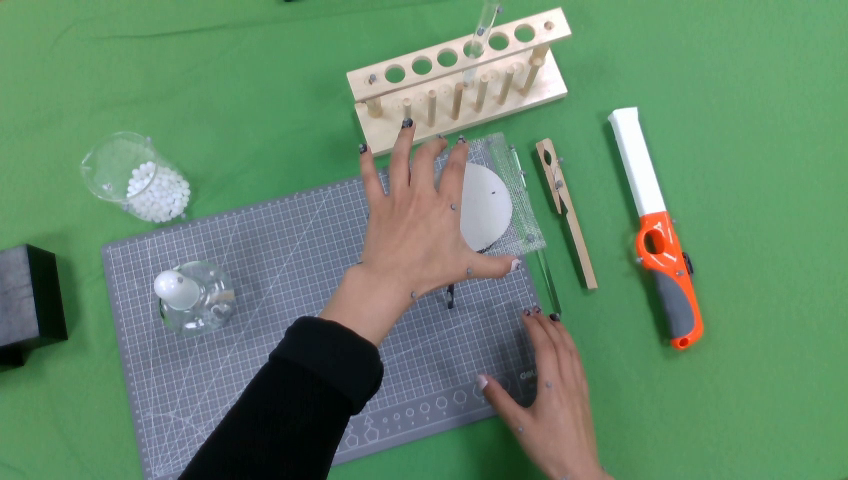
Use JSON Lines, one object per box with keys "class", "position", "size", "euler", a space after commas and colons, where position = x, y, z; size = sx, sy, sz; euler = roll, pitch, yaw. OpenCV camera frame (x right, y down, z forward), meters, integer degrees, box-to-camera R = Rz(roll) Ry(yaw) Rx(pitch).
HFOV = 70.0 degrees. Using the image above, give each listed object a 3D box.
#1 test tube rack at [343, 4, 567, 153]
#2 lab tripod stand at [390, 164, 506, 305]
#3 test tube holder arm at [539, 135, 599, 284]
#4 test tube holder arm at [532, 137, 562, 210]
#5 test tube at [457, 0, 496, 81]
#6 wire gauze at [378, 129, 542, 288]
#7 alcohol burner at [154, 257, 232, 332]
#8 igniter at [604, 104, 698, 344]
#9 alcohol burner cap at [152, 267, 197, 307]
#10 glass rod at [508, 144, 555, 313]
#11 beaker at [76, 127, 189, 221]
{"class": "test tube rack", "position": [0.039, -0.177, 0.679], "size": [0.242, 0.085, 0.066], "euler": [-18, 78, -4]}
{"class": "lab tripod stand", "position": [0.023, -0.014, 0.616], "size": [0.148, 0.132, 0.147], "euler": [0, 78, 2]}
{"class": "test tube holder arm", "position": [0.162, -0.036, 0.681], "size": [0.013, 0.015, 0.177], "euler": [-25, 76, 32]}
{"class": "test tube holder arm", "position": [0.144, -0.076, 0.693], "size": [0.010, 0.015, 0.087], "euler": [-24, 77, 32]}
{"class": "test tube", "position": [0.053, -0.209, 0.635], "size": [0.017, 0.150, 0.017], "euler": [2, 75, -6]}
{"class": "wire gauze", "position": [0.031, -0.032, 0.552], "size": [0.121, 0.011, 0.124], "euler": [-17, 78, -3]}
{"class": "alcohol burner", "position": [-0.238, 0.052, 0.609], "size": [0.078, 0.119, 0.077], "euler": [0, 76, 1]}
{"class": "igniter", "position": [0.253, -0.022, 0.677], "size": [0.057, 0.025, 0.275], "euler": [-9, 78, -13]}
{"class": "alcohol burner cap", "position": [-0.239, 0.042, 0.574], "size": [0.034, 0.048, 0.033], "euler": [0, 68, 0]}
{"class": "glass rod", "position": [0.121, -0.015, 0.684], "size": [0.008, 0.008, 0.199], "euler": [-13, 81, -4]}
{"class": "beaker", "position": [-0.304, -0.065, 0.644], "size": [0.084, 0.100, 0.073], "euler": [2, 77, 1]}
